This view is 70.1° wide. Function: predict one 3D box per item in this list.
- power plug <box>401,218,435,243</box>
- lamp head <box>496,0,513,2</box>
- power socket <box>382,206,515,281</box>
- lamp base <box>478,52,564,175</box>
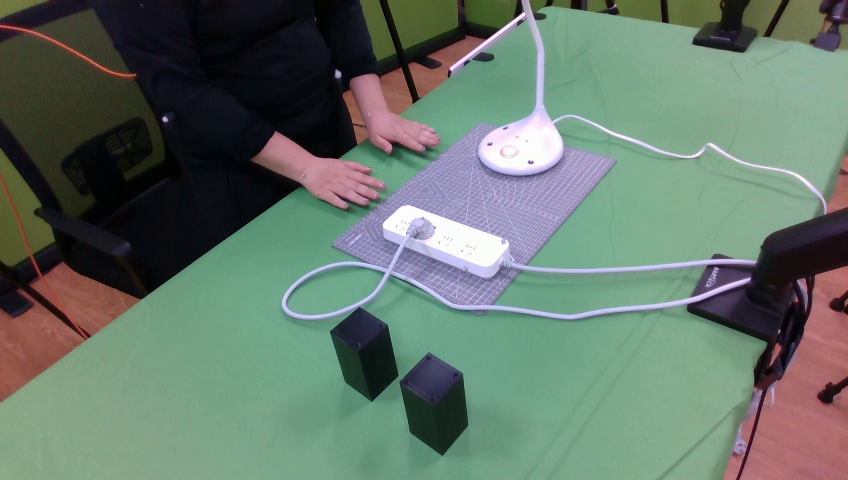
[{"bbox_3d":[-0.014,-0.005,0.937,0.073,0.053,0.035,-37,46,-27],"label":"power plug"},{"bbox_3d":[0.120,-0.420,0.861,0.111,0.113,0.123,24,72,32],"label":"lamp head"},{"bbox_3d":[0.032,0.002,0.950,0.225,0.033,0.072,21,49,29],"label":"power socket"},{"bbox_3d":[0.181,-0.236,1.095,0.159,0.181,0.179,19,44,29],"label":"lamp base"}]
